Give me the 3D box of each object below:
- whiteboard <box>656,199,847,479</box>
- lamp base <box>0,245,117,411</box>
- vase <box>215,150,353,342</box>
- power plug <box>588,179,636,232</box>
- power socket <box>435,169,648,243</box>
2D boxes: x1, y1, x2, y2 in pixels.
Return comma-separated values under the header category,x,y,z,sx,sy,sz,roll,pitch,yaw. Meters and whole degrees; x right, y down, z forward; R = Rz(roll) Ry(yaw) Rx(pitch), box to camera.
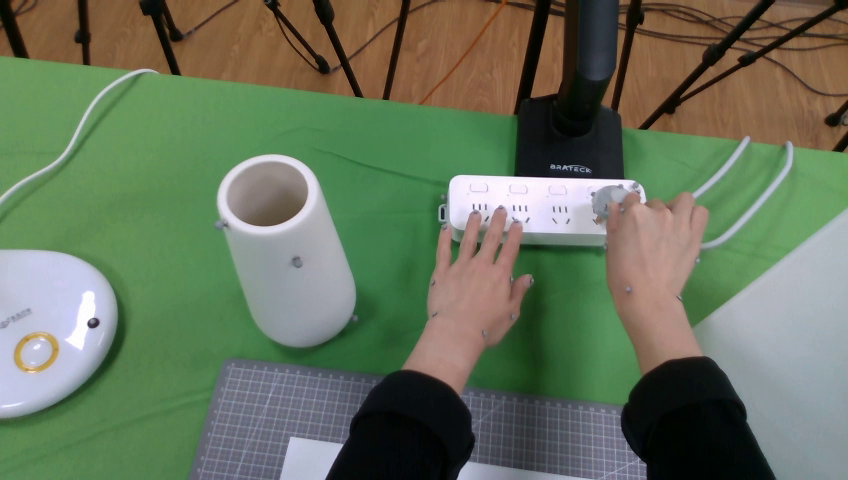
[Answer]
category,x,y,z,sx,sy,sz,roll,pitch,yaw
whiteboard,0.380,0.083,0.466,0.144,0.307,0.215,-13,60,-31
lamp base,-0.374,0.032,0.493,0.178,0.182,0.160,36,65,20
vase,-0.115,0.012,0.507,0.098,0.201,0.097,1,60,-1
power plug,0.181,-0.028,0.596,0.035,0.053,0.072,7,57,0
power socket,0.125,-0.036,0.640,0.227,0.033,0.071,2,62,-2
